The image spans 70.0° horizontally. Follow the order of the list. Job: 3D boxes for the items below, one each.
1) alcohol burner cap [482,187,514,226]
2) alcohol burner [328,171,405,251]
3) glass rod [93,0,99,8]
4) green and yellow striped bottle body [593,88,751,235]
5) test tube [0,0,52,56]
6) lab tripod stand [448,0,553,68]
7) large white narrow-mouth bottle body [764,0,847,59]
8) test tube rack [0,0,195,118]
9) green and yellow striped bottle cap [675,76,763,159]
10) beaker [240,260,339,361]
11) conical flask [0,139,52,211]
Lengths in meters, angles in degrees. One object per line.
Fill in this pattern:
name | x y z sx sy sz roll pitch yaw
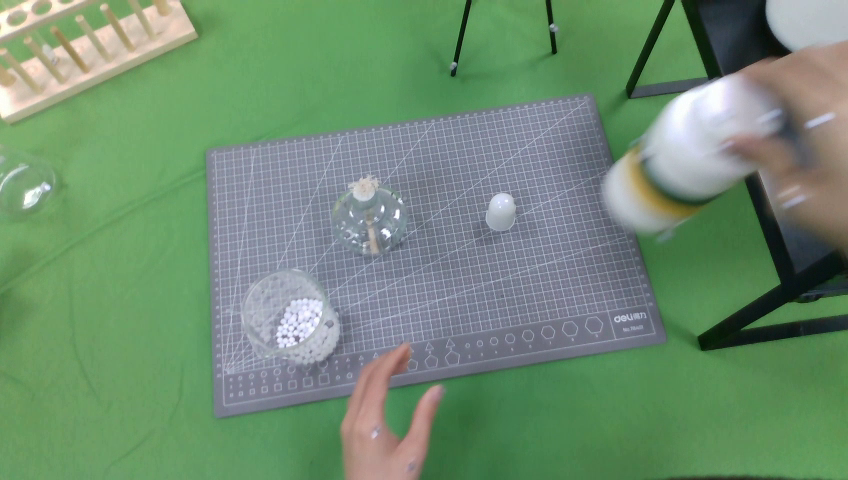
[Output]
alcohol burner cap | 0.079 -0.038 0.636 0.034 0.048 0.033 0 68 1
alcohol burner | -0.058 -0.034 0.599 0.078 0.120 0.077 0 68 0
glass rod | -0.388 -0.301 0.653 0.008 0.201 0.008 -3 64 7
green and yellow striped bottle body | 0.162 -0.052 0.394 0.063 0.120 0.063 3 70 -7
test tube | -0.447 -0.255 0.655 0.017 0.151 0.017 1 65 -2
lab tripod stand | 0.084 -0.275 0.680 0.148 0.132 0.147 0 68 0
large white narrow-mouth bottle body | 0.335 -0.226 0.432 0.102 0.196 0.101 -1 69 3
test tube rack | -0.404 -0.241 0.701 0.242 0.086 0.066 -29 71 -9
green and yellow striped bottle cap | 0.169 -0.071 0.346 0.045 0.020 0.045 3 72 -8
beaker | -0.123 0.073 0.568 0.074 0.101 0.083 20 71 9
conical flask | -0.454 -0.086 0.624 0.075 0.122 0.075 0 69 2
